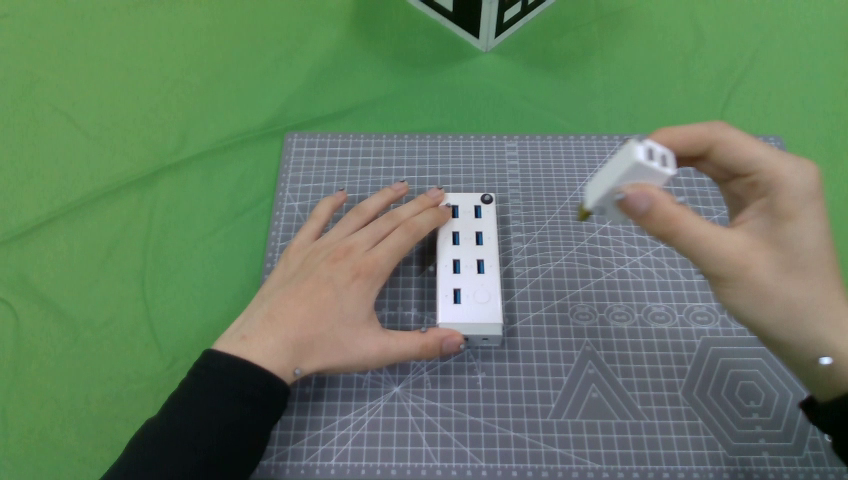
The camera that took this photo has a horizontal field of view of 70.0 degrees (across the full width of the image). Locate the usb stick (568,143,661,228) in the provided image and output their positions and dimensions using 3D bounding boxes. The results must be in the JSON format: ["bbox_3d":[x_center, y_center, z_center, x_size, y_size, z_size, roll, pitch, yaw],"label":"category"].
[{"bbox_3d":[0.103,-0.025,0.341,0.027,0.059,0.021,20,51,-14],"label":"usb stick"}]

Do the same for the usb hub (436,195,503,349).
[{"bbox_3d":[0.034,0.022,0.467,0.049,0.025,0.124,1,59,0],"label":"usb hub"}]
